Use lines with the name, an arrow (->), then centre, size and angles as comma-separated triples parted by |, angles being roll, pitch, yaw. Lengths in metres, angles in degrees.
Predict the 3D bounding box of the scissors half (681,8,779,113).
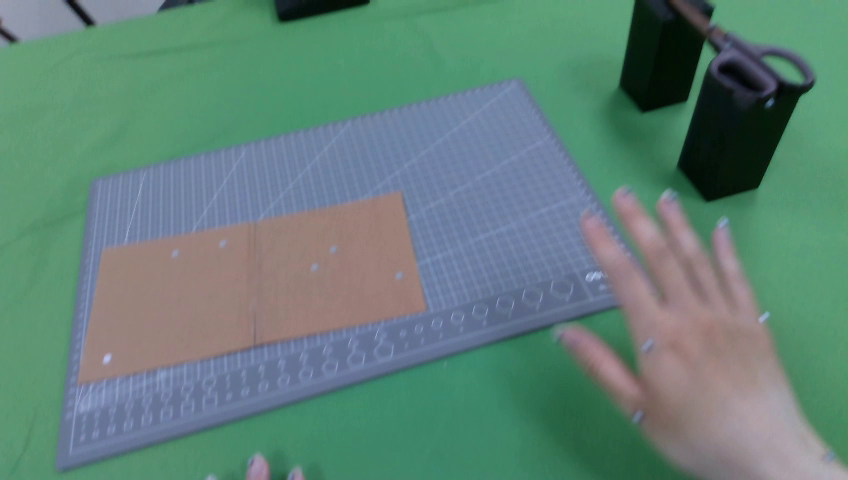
scissors half -> 0.231, -0.158, 0.495 | 0.040, 0.013, 0.173 | -10, 48, 0

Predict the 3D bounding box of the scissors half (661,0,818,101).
scissors half -> 0.250, -0.164, 0.496 | 0.040, 0.013, 0.173 | -26, 49, -7

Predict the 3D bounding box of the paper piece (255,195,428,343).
paper piece -> -0.074, 0.019, 0.508 | 0.136, 0.004, 0.134 | -10, 48, -4

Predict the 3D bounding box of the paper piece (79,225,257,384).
paper piece -> -0.205, 0.046, 0.500 | 0.138, 0.009, 0.134 | -11, 46, -2
